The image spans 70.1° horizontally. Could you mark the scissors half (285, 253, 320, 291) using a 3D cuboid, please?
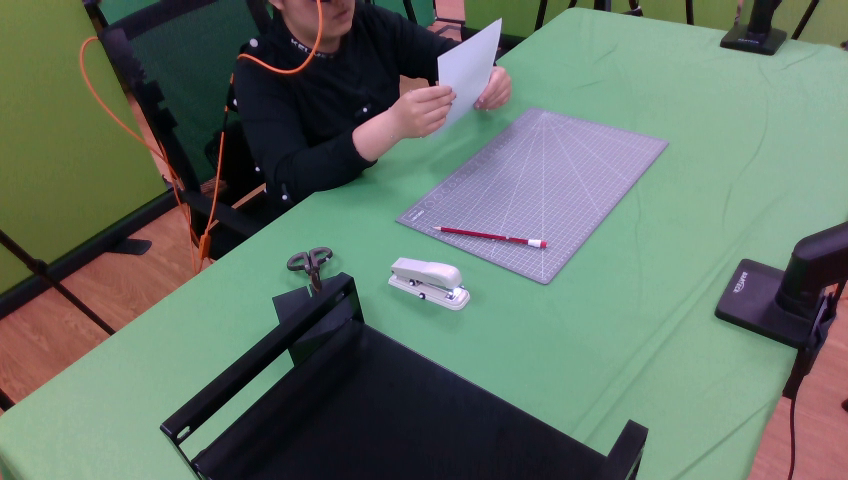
[{"bbox_3d":[-0.178,0.049,0.909,0.040,0.013,0.174,-17,20,-20],"label":"scissors half"}]

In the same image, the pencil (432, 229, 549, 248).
[{"bbox_3d":[0.103,-0.004,0.970,0.193,0.012,0.012,7,42,18],"label":"pencil"}]

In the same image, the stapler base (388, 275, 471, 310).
[{"bbox_3d":[0.007,0.066,0.897,0.129,0.024,0.041,17,44,29],"label":"stapler base"}]

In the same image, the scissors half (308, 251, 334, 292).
[{"bbox_3d":[-0.159,0.046,0.913,0.040,0.013,0.174,-6,18,-4],"label":"scissors half"}]

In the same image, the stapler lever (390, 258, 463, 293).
[{"bbox_3d":[0.003,0.046,0.881,0.117,0.040,0.027,17,44,29],"label":"stapler lever"}]
